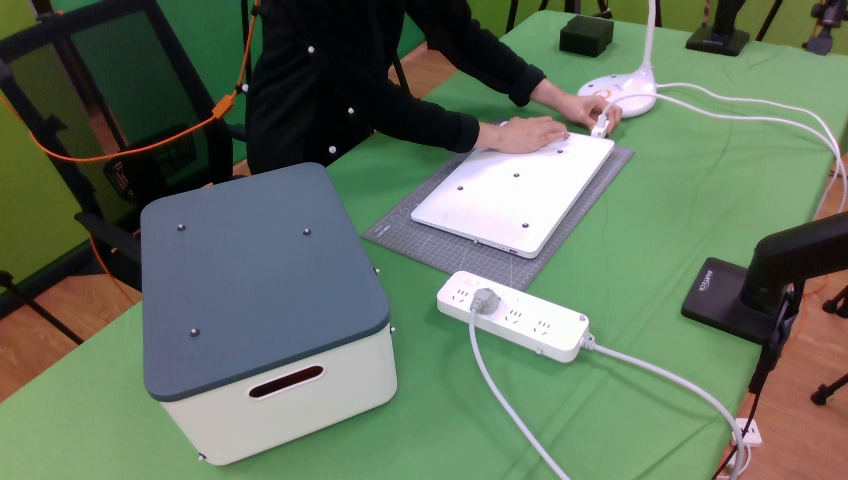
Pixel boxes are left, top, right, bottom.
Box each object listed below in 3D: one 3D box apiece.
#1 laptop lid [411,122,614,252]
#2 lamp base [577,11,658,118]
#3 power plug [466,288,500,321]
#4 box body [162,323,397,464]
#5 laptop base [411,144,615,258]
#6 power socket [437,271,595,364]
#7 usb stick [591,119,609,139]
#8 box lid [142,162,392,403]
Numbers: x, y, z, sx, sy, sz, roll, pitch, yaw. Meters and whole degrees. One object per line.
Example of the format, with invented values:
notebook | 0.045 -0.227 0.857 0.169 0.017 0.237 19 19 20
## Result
laptop lid | 0.164 -0.111 1.069 0.240 0.013 0.357 19 46 31
lamp base | 0.406 -0.363 1.222 0.180 0.181 0.159 -20 42 -18
power plug | 0.072 0.093 0.813 0.073 0.053 0.035 -37 49 -28
box body | -0.205 0.080 0.802 0.255 0.161 0.361 -18 41 -13
laptop base | 0.167 -0.102 1.075 0.234 0.023 0.355 16 45 30
power socket | 0.118 0.102 0.830 0.225 0.033 0.072 20 48 28
usb stick | 0.334 -0.204 1.152 0.021 0.027 0.059 19 51 23
box lid | -0.212 0.025 0.752 0.264 0.015 0.368 -17 41 -13
